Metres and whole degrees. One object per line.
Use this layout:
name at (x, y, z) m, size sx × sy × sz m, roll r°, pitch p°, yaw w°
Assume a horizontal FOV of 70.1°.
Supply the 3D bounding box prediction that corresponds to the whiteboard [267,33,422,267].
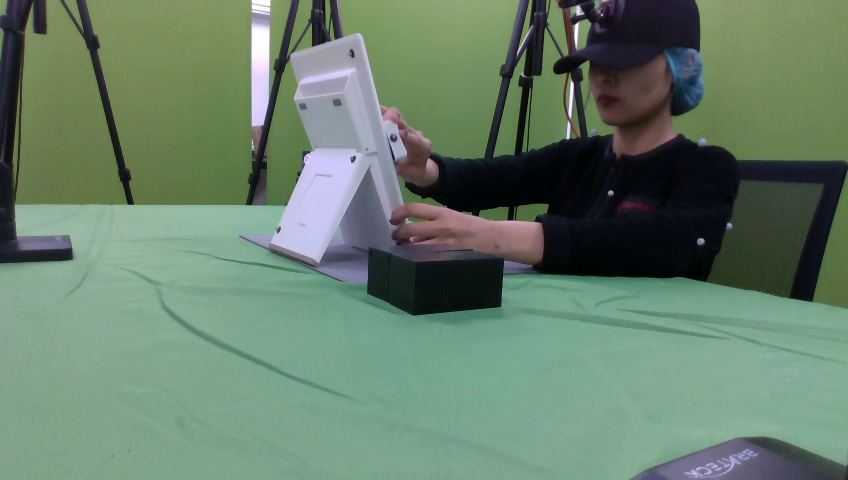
whiteboard at (-0.153, -0.097, 0.818) m, size 0.144 × 0.305 × 0.216 m, roll -24°, pitch 20°, yaw -28°

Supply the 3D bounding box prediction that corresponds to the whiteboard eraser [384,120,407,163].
whiteboard eraser at (-0.066, -0.122, 0.831) m, size 0.042 × 0.055 × 0.112 m, roll -22°, pitch 2°, yaw -26°
